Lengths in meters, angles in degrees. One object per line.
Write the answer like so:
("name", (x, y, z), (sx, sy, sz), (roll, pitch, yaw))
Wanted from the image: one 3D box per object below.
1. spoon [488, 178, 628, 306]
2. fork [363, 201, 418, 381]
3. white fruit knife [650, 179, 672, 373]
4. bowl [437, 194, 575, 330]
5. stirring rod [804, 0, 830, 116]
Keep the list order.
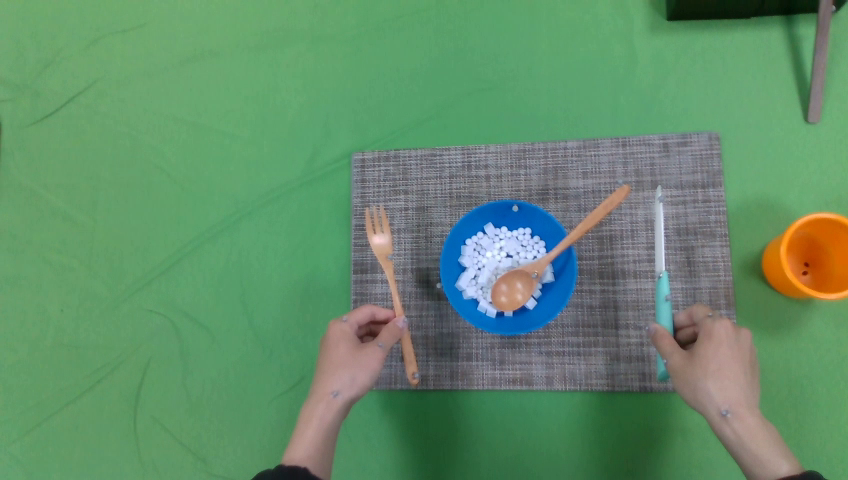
("spoon", (0.145, 0.004, 0.657), (0.194, 0.021, 0.041), (-44, 83, 19))
("fork", (-0.035, 0.055, 0.677), (0.028, 0.019, 0.206), (-13, 77, -9))
("white fruit knife", (0.248, 0.036, 0.641), (0.016, 0.027, 0.206), (1, 80, -4))
("bowl", (0.094, 0.029, 0.695), (0.151, 0.077, 0.151), (-1, 81, 8))
("stirring rod", (0.455, -0.233, 0.697), (0.014, 0.006, 0.176), (0, 101, 5))
